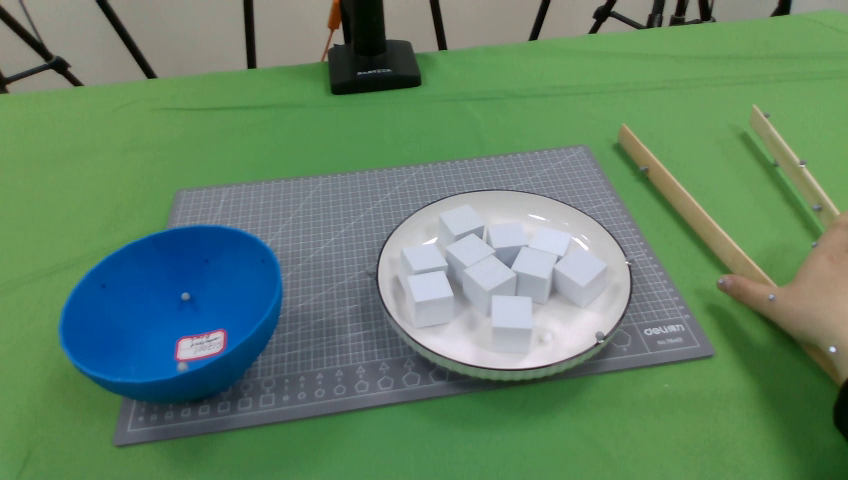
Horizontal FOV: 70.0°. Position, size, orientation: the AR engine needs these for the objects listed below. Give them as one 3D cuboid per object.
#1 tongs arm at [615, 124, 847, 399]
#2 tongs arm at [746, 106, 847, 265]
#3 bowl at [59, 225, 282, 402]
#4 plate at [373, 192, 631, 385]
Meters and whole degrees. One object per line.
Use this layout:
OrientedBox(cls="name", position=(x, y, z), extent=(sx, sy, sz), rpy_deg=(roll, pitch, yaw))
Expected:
OrientedBox(cls="tongs arm", position=(0.272, 0.001, 0.546), extent=(0.028, 0.028, 0.383), rpy_deg=(-10, 43, -12))
OrientedBox(cls="tongs arm", position=(0.354, -0.010, 0.550), extent=(0.051, 0.027, 0.380), rpy_deg=(-3, 43, 0))
OrientedBox(cls="bowl", position=(-0.175, 0.066, 0.452), extent=(0.151, 0.077, 0.150), rpy_deg=(-1, 42, 1))
OrientedBox(cls="plate", position=(0.062, 0.037, 0.504), extent=(0.208, 0.039, 0.205), rpy_deg=(-1, 42, 1))
